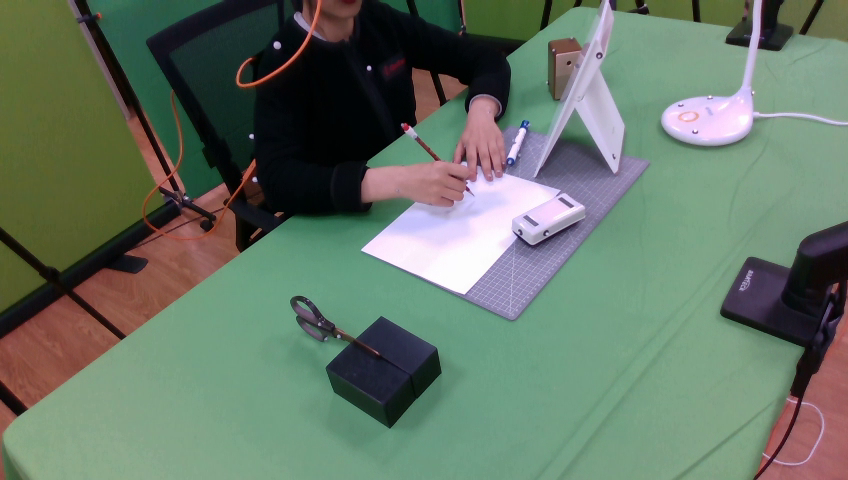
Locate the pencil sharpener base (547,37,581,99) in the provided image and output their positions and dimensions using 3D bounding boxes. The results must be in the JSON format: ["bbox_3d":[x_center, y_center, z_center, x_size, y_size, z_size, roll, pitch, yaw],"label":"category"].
[{"bbox_3d":[0.299,-0.368,1.290,0.061,0.107,0.076,-8,40,3],"label":"pencil sharpener base"}]

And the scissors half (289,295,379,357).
[{"bbox_3d":[-0.122,0.114,0.803,0.174,0.040,0.013,26,50,32],"label":"scissors half"}]

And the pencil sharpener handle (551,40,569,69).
[{"bbox_3d":[0.291,-0.409,1.321,0.036,0.068,0.030,2,40,-6],"label":"pencil sharpener handle"}]

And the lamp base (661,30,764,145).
[{"bbox_3d":[0.535,-0.287,1.096,0.179,0.181,0.159,-10,40,-4],"label":"lamp base"}]

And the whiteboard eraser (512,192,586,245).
[{"bbox_3d":[0.199,-0.032,0.962,0.113,0.042,0.055,-27,43,-20],"label":"whiteboard eraser"}]

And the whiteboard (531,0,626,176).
[{"bbox_3d":[0.320,-0.258,1.050,0.144,0.306,0.217,22,45,5],"label":"whiteboard"}]

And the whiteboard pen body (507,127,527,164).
[{"bbox_3d":[0.181,-0.189,1.162,0.017,0.017,0.140,8,42,19],"label":"whiteboard pen body"}]

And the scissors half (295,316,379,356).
[{"bbox_3d":[-0.119,0.132,0.813,0.174,0.040,0.013,9,34,45],"label":"scissors half"}]

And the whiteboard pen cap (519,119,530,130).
[{"bbox_3d":[0.199,-0.226,1.204,0.018,0.018,0.033,7,41,18],"label":"whiteboard pen cap"}]

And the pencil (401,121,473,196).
[{"bbox_3d":[0.027,-0.130,1.002,0.012,0.196,0.012,-27,40,26],"label":"pencil"}]
